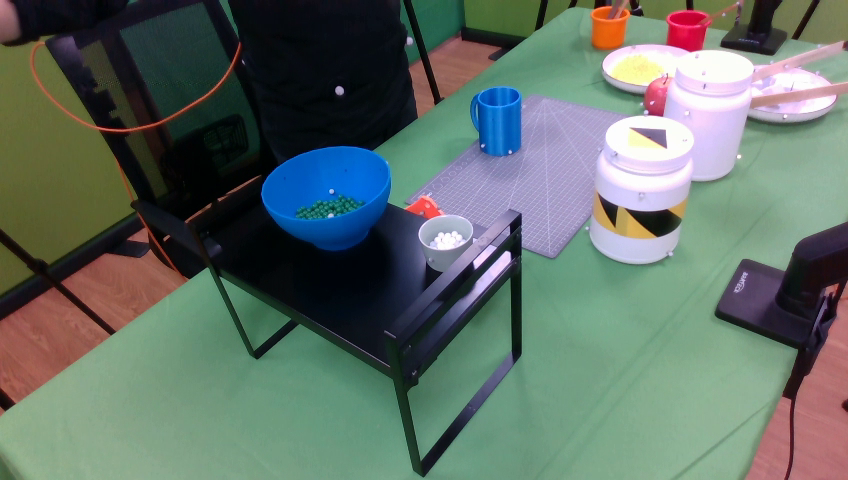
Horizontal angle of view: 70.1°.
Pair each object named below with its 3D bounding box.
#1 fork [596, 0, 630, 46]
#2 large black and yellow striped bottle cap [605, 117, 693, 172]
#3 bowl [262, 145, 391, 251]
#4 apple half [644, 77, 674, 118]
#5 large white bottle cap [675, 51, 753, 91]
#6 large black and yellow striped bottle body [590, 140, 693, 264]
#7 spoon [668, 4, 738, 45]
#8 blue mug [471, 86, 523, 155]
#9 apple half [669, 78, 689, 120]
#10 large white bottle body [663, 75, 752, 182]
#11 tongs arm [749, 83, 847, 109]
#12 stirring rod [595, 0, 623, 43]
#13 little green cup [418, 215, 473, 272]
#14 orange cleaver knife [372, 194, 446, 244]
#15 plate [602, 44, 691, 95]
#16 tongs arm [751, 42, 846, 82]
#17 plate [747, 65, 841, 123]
[{"bbox_3d":[0.481,-0.556,1.453,0.028,0.019,0.207,41,103,41],"label":"fork"},{"bbox_3d":[0.309,-0.134,0.833,0.115,0.019,0.114,-5,40,5],"label":"large black and yellow striped bottle cap"},{"bbox_3d":[-0.108,-0.041,0.723,0.151,0.077,0.150,-4,40,4],"label":"bowl"},{"bbox_3d":[0.463,-0.279,1.194,0.053,0.075,0.081,8,46,24],"label":"apple half"},{"bbox_3d":[0.463,-0.271,0.967,0.115,0.018,0.114,-4,40,4],"label":"large white bottle cap"},{"bbox_3d":[0.317,-0.071,0.889,0.131,0.185,0.130,-4,41,4],"label":"large black and yellow striped bottle body"},{"bbox_3d":[0.618,-0.478,1.346,0.042,0.193,0.021,-25,89,-20],"label":"spoon"},{"bbox_3d":[0.135,-0.235,1.163,0.082,0.106,0.115,-36,48,-29],"label":"blue mug"},{"bbox_3d":[0.498,-0.273,1.180,0.032,0.082,0.081,7,42,25],"label":"apple half"},{"bbox_3d":[0.472,-0.207,1.022,0.130,0.185,0.130,-4,41,4],"label":"large white bottle body"},{"bbox_3d":[0.734,-0.280,1.133,0.388,0.028,0.028,-9,47,-5],"label":"tongs arm"},{"bbox_3d":[0.460,-0.556,1.459,0.014,0.006,0.176,30,93,23],"label":"stirring rod"},{"bbox_3d":[0.026,0.005,0.678,0.061,0.039,0.061,-4,40,4],"label":"little green cup"},{"bbox_3d":[-0.032,-0.026,0.964,0.210,0.077,0.012,-9,29,51],"label":"orange cleaver knife"},{"bbox_3d":[0.494,-0.367,1.317,0.209,0.038,0.208,-4,40,4],"label":"plate"},{"bbox_3d":[0.708,-0.331,1.193,0.386,0.026,0.050,-18,45,-16],"label":"tongs arm"},{"bbox_3d":[0.694,-0.282,1.189,0.207,0.039,0.206,-4,40,4],"label":"plate"}]
